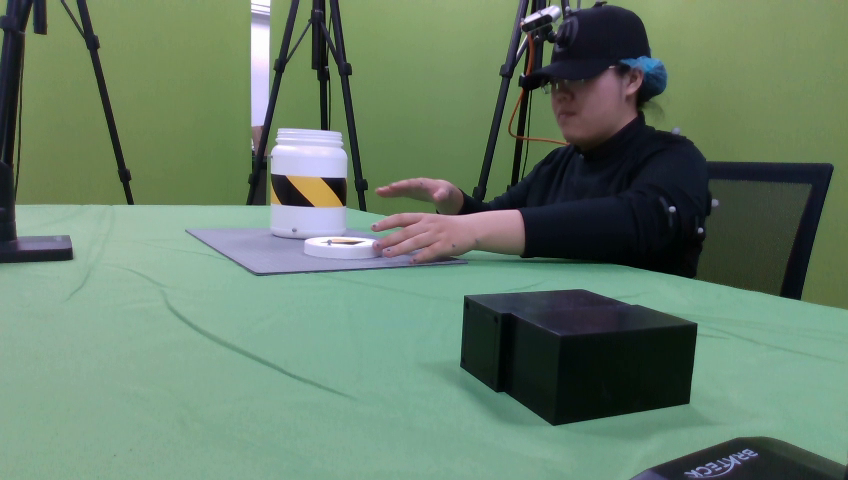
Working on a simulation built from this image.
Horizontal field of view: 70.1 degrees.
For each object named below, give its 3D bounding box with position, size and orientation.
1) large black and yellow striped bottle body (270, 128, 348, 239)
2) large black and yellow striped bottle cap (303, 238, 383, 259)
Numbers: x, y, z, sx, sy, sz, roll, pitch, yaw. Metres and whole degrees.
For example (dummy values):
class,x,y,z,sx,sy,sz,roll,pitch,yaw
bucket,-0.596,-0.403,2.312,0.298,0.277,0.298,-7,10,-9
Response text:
class,x,y,z,sx,sy,sz,roll,pitch,yaw
large black and yellow striped bottle body,-0.200,-0.099,1.053,0.131,0.184,0.130,3,8,0
large black and yellow striped bottle cap,-0.117,0.011,0.880,0.115,0.019,0.115,2,6,0
